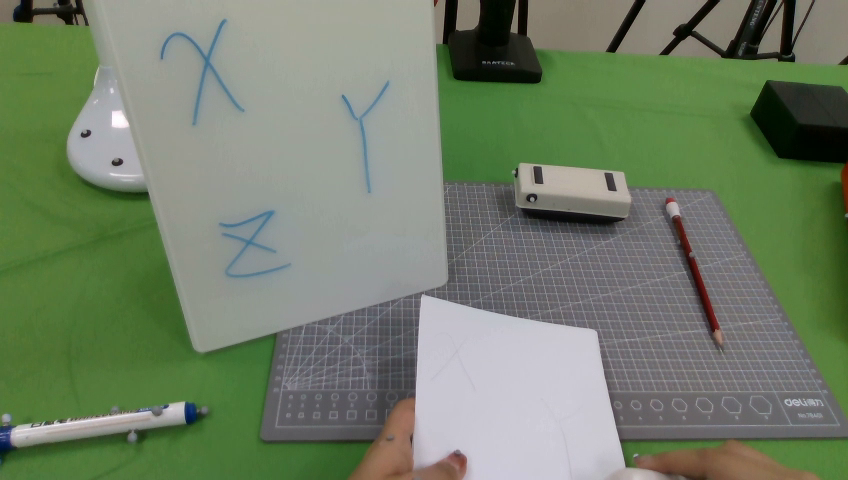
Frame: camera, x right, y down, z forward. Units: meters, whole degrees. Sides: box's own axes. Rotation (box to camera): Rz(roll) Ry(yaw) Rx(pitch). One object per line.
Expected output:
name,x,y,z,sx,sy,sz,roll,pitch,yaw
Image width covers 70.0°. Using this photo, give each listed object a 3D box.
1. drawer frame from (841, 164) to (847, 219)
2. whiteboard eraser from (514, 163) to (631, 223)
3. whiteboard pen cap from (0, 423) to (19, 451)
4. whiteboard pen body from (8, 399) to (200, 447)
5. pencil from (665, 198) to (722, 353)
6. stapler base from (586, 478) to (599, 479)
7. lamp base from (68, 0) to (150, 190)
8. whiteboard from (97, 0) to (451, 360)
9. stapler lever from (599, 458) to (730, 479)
drawer frame,0.539,-0.004,0.595,0.201,0.083,0.212,18,45,13
whiteboard eraser,0.150,-0.047,0.618,0.113,0.042,0.055,6,45,-1
whiteboard pen cap,-0.288,0.132,0.401,0.033,0.018,0.018,-7,45,-12
whiteboard pen body,-0.229,0.127,0.416,0.141,0.017,0.017,-6,45,-12
pencil,0.257,0.027,0.580,0.012,0.012,0.192,5,46,-1
stapler base,0.168,0.178,0.398,0.131,0.024,0.041,12,33,-7
lamp base,-0.290,-0.167,0.592,0.178,0.182,0.160,30,49,26
whiteboard,-0.110,-0.095,0.491,0.218,0.307,0.142,-14,28,-18
stapler lever,0.172,0.164,0.390,0.118,0.040,0.026,4,34,-2
